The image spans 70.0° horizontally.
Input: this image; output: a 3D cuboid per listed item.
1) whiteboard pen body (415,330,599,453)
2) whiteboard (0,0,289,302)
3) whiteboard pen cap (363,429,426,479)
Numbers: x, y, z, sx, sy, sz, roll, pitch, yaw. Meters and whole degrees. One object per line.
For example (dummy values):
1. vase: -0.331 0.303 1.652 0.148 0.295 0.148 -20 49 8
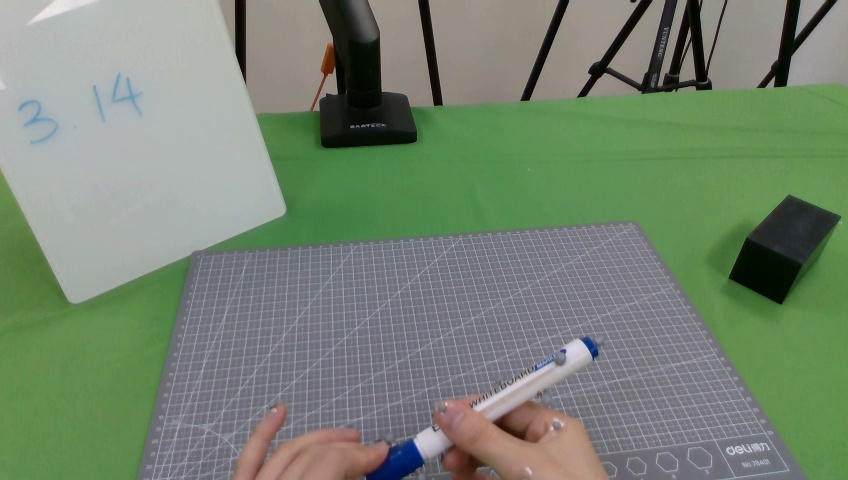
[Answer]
1. whiteboard pen body: 0.038 0.090 0.341 0.141 0.017 0.017 -28 46 -8
2. whiteboard: -0.295 -0.139 0.570 0.217 0.308 0.142 -28 29 -30
3. whiteboard pen cap: -0.015 0.118 0.332 0.033 0.018 0.018 -26 46 -17
